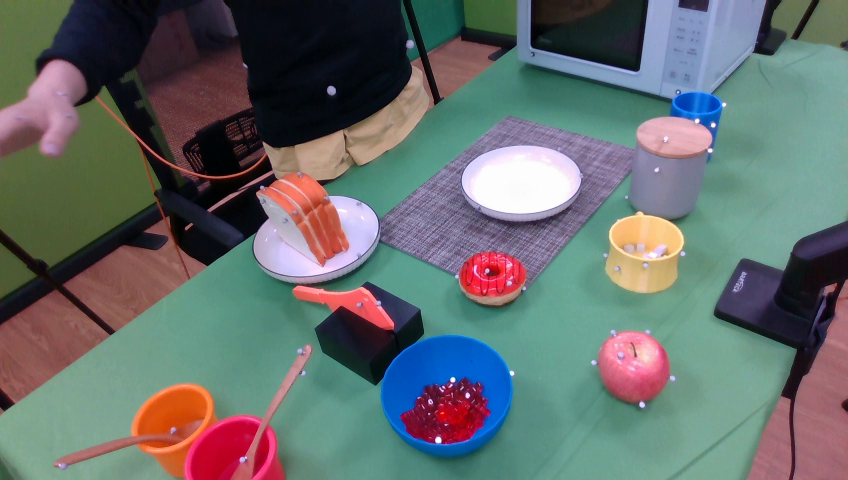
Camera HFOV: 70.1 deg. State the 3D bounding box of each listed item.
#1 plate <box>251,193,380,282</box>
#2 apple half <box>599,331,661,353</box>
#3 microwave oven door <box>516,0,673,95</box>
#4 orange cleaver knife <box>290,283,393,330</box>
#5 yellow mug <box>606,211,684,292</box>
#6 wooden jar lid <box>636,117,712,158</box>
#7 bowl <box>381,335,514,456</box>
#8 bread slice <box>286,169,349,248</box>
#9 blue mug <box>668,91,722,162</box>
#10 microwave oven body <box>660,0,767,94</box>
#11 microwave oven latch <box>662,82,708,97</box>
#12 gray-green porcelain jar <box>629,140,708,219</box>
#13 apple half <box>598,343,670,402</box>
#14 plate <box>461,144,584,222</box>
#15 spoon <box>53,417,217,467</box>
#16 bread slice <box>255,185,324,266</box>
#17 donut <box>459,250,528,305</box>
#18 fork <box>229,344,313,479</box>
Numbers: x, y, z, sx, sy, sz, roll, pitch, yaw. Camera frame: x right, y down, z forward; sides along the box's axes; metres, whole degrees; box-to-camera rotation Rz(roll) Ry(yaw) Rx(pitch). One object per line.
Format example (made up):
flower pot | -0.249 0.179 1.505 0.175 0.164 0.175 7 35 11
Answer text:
plate | -0.173 -0.001 0.984 0.209 0.038 0.208 -4 40 4
apple half | 0.249 0.134 0.738 0.081 0.081 0.032 -1 46 7
microwave oven door | 0.344 -0.458 1.256 0.353 0.245 0.039 26 51 33
orange cleaver knife | -0.118 0.091 0.835 0.209 0.077 0.012 1 35 48
yellow mug | 0.318 0.008 0.883 0.100 0.064 0.130 0 40 9
wooden jar lid | 0.377 -0.151 0.917 0.108 0.021 0.108 -2 42 3
bowl | 0.029 0.192 0.701 0.151 0.077 0.150 -4 40 4
bread slice | -0.170 -0.053 0.959 0.104 0.132 0.019 30 61 36
blue mug | 0.475 -0.207 1.078 0.082 0.106 0.116 4 42 13
microwave oven body | 0.473 -0.516 1.313 0.438 0.261 0.327 26 51 34
microwave oven latch | 0.517 -0.298 1.202 0.078 0.029 0.030 27 52 34
gray-green porcelain jar | 0.383 -0.105 0.958 0.106 0.127 0.105 -4 41 4
apple half | 0.247 0.161 0.710 0.081 0.075 0.053 2 47 5
plate | 0.168 -0.095 1.040 0.207 0.039 0.206 -4 40 4
spoon | -0.308 0.219 0.663 0.041 0.195 0.021 24 94 29
bread slice | -0.211 -0.027 0.936 0.106 0.135 0.018 27 62 35
donut | 0.100 0.053 0.872 0.099 0.048 0.098 -5 41 5
fork | -0.173 0.205 0.662 0.028 0.019 0.207 29 94 36
